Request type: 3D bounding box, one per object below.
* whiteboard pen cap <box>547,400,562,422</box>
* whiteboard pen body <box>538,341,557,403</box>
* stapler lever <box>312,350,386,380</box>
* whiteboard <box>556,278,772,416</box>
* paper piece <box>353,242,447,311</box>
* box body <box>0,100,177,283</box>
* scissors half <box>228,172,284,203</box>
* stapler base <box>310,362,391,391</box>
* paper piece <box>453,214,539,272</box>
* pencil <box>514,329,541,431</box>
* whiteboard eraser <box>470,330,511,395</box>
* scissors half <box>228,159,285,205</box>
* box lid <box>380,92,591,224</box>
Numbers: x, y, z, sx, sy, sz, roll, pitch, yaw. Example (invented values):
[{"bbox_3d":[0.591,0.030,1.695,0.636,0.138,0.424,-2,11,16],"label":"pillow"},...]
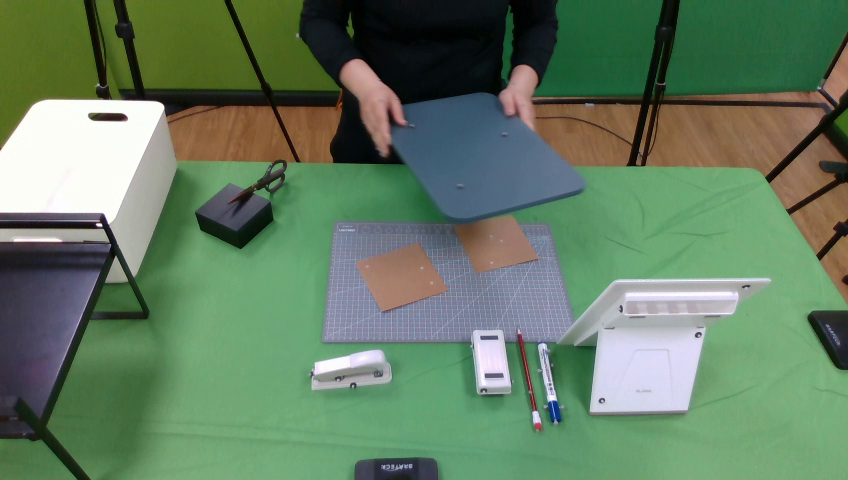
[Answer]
[{"bbox_3d":[0.205,0.269,0.956,0.018,0.018,0.033,0,47,-5],"label":"whiteboard pen cap"},{"bbox_3d":[0.205,0.228,0.997,0.017,0.017,0.140,1,46,-3],"label":"whiteboard pen body"},{"bbox_3d":[-0.120,0.198,0.963,0.118,0.040,0.026,-4,44,-8],"label":"stapler lever"},{"bbox_3d":[0.347,0.174,0.903,0.217,0.306,0.143,1,65,-4],"label":"whiteboard"},{"bbox_3d":[-0.046,0.066,1.137,0.136,0.009,0.137,-14,48,-22],"label":"paper piece"},{"bbox_3d":[-0.639,-0.095,1.140,0.254,0.161,0.361,0,46,-4],"label":"box body"},{"bbox_3d":[-0.339,-0.101,1.229,0.013,0.040,0.175,23,28,15],"label":"scissors half"},{"bbox_3d":[-0.119,0.215,0.980,0.131,0.024,0.041,-5,44,-7],"label":"stapler base"},{"bbox_3d":[0.142,0.002,1.213,0.135,0.004,0.135,-11,48,-14],"label":"paper piece"},{"bbox_3d":[0.169,0.224,1.002,0.012,0.012,0.192,-2,46,-6],"label":"pencil"},{"bbox_3d":[0.110,0.202,0.998,0.055,0.042,0.112,1,46,-5],"label":"whiteboard eraser"},{"bbox_3d":[-0.335,-0.116,1.217,0.013,0.040,0.175,27,46,11],"label":"scissors half"},{"bbox_3d":[0.099,-0.162,1.086,0.264,0.015,0.369,-15,44,-18],"label":"box lid"}]
